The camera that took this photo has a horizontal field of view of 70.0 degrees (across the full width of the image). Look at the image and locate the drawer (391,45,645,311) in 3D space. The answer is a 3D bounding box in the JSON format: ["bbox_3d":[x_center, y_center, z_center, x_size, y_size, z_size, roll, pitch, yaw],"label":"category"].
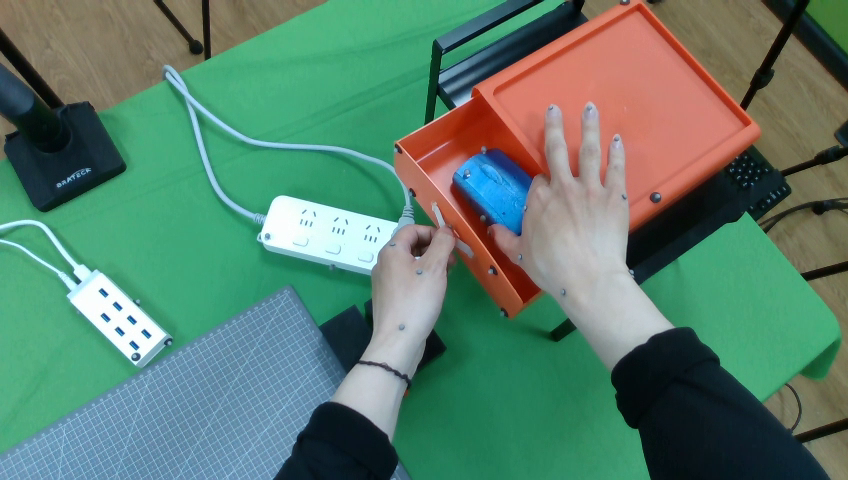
[{"bbox_3d":[0.106,-0.069,0.595,0.212,0.073,0.193,-34,77,-14],"label":"drawer"}]

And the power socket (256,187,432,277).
[{"bbox_3d":[-0.101,-0.011,0.774,0.227,0.033,0.072,14,71,1],"label":"power socket"}]

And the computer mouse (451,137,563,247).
[{"bbox_3d":[0.081,-0.051,0.601,0.063,0.041,0.116,-37,73,-9],"label":"computer mouse"}]

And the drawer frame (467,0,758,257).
[{"bbox_3d":[0.182,-0.122,0.617,0.213,0.083,0.200,-34,77,-15],"label":"drawer frame"}]

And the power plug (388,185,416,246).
[{"bbox_3d":[-0.020,-0.027,0.766,0.035,0.053,0.072,25,70,5],"label":"power plug"}]

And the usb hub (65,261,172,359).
[{"bbox_3d":[-0.367,0.083,0.727,0.124,0.025,0.049,40,74,9],"label":"usb hub"}]
